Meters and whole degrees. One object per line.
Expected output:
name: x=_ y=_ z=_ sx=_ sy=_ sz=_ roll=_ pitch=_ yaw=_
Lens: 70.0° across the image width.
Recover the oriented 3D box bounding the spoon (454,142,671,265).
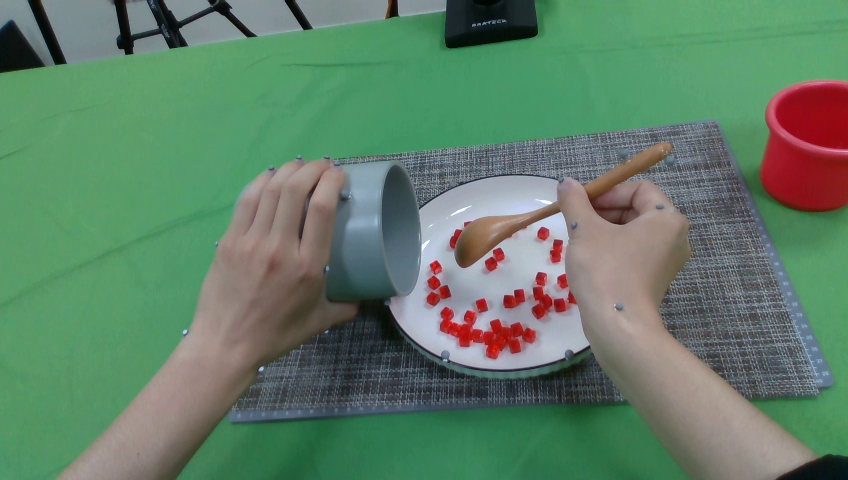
spoon: x=0.092 y=-0.026 z=0.452 sx=0.193 sy=0.022 sz=0.041 roll=-25 pitch=44 yaw=35

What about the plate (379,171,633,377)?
plate: x=0.065 y=0.026 z=0.507 sx=0.207 sy=0.039 sz=0.205 roll=-6 pitch=48 yaw=7

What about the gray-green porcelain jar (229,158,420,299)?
gray-green porcelain jar: x=-0.077 y=-0.007 z=0.475 sx=0.126 sy=0.107 sz=0.105 roll=-3 pitch=49 yaw=14

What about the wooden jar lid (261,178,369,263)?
wooden jar lid: x=-0.106 y=-0.018 z=0.598 sx=0.108 sy=0.021 sz=0.107 roll=-6 pitch=47 yaw=7
